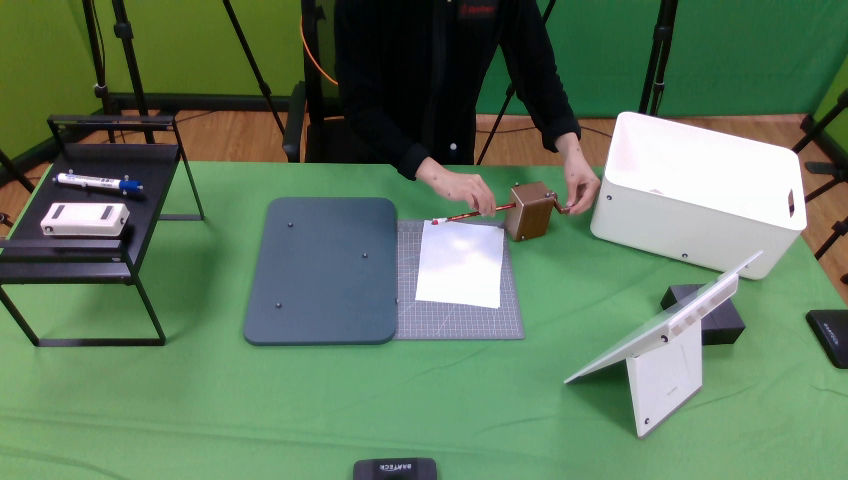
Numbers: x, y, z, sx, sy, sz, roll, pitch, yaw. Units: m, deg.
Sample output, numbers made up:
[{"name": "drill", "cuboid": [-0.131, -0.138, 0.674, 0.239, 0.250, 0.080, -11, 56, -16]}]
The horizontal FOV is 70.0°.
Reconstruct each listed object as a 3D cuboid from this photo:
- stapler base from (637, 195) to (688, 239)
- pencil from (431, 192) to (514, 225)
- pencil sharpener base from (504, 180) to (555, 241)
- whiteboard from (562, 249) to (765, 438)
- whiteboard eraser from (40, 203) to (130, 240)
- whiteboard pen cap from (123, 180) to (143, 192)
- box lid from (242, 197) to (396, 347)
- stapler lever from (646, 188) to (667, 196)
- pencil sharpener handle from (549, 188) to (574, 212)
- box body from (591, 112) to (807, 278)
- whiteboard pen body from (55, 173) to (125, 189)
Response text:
[{"name": "stapler base", "cuboid": [0.507, -0.055, 1.280, 0.041, 0.024, 0.129, -14, 47, -19]}, {"name": "pencil", "cuboid": [0.103, -0.064, 1.158, 0.194, 0.012, 0.012, -20, 51, -13]}, {"name": "pencil sharpener base", "cuboid": [0.211, -0.059, 1.211, 0.077, 0.107, 0.061, -13, 48, -16]}, {"name": "whiteboard", "cuboid": [0.386, 0.175, 0.905, 0.217, 0.306, 0.143, -26, 72, -26]}, {"name": "whiteboard eraser", "cuboid": [-0.513, -0.028, 0.922, 0.113, 0.042, 0.055, 1, 48, -3]}, {"name": "whiteboard pen cap", "cuboid": [-0.479, -0.089, 0.993, 0.033, 0.018, 0.018, 7, 46, 14]}, {"name": "box lid", "cuboid": [-0.186, 0.046, 1.147, 0.263, 0.015, 0.369, 0, 46, -3]}, {"name": "stapler lever", "cuboid": [0.507, -0.075, 1.262, 0.027, 0.040, 0.117, -14, 46, -19]}, {"name": "pencil sharpener handle", "cuboid": [0.266, -0.079, 1.195, 0.031, 0.036, 0.067, -13, 46, -16]}, {"name": "box body", "cuboid": [0.540, -0.092, 1.229, 0.363, 0.161, 0.253, 16, 47, 11]}, {"name": "whiteboard pen body", "cuboid": [-0.539, -0.095, 0.998, 0.141, 0.017, 0.017, 6, 46, 6]}]
